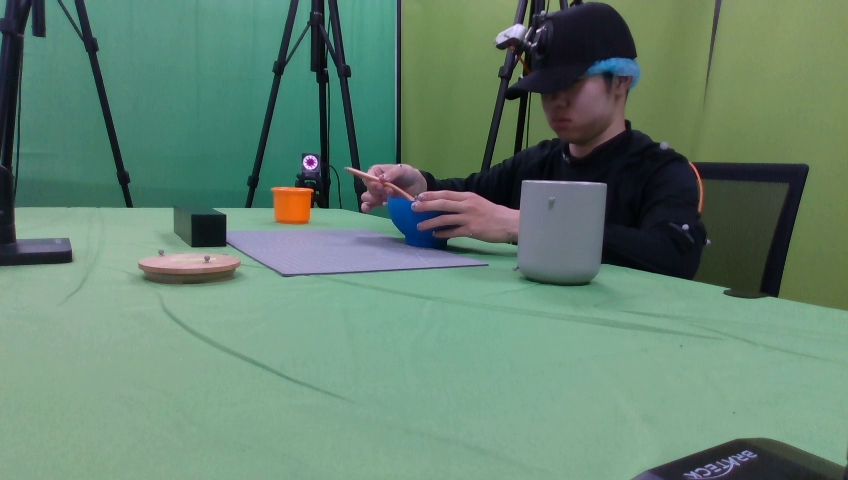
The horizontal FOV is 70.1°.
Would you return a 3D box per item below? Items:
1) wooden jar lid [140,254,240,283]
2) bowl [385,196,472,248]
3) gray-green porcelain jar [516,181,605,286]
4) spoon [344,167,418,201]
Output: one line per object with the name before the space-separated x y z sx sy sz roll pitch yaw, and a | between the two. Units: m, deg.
wooden jar lid | -0.269 0.032 0.698 0.108 0.020 0.108 2 5 0
bowl | 0.004 -0.030 1.047 0.151 0.077 0.151 6 6 0
gray-green porcelain jar | 0.172 -0.010 0.768 0.106 0.126 0.106 2 7 0
spoon | -0.054 -0.089 1.064 0.193 0.021 0.042 28 22 8
